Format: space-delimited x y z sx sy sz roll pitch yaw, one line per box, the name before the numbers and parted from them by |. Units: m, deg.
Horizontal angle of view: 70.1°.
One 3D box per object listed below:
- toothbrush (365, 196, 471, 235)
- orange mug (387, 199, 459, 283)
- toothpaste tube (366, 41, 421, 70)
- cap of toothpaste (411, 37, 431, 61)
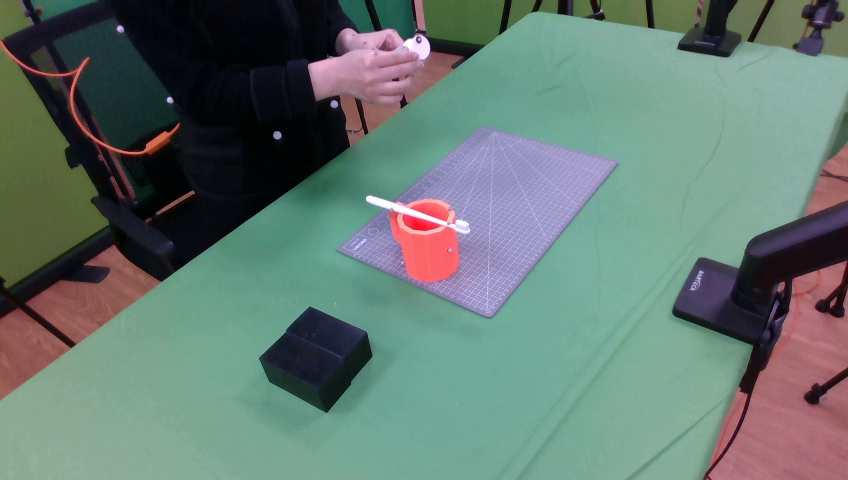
toothbrush | -0.013 -0.039 0.880 0.180 0.017 0.014 18 50 27
orange mug | -0.006 -0.007 0.922 0.125 0.101 0.084 32 54 32
toothpaste tube | -0.041 -0.295 0.991 0.055 0.034 0.164 -1 5 -27
cap of toothpaste | -0.006 -0.290 0.917 0.037 0.037 0.011 -34 28 -28
